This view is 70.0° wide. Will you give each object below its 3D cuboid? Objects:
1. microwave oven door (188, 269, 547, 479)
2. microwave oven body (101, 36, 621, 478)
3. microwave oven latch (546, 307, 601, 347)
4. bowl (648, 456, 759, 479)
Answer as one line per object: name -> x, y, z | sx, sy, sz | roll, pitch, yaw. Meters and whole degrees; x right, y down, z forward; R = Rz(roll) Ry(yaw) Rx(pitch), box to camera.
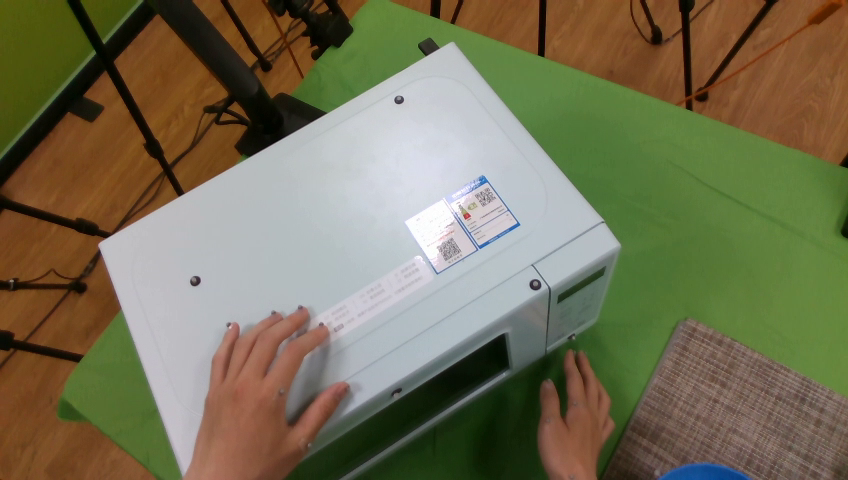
microwave oven door -> -0.028, 0.168, 0.631 | 0.356, 0.246, 0.039 | -31, 64, -5
microwave oven body -> -0.064, 0.039, 0.700 | 0.442, 0.262, 0.323 | -31, 65, -4
microwave oven latch -> 0.176, 0.098, 0.741 | 0.079, 0.030, 0.030 | -30, 65, -4
bowl -> 0.286, 0.304, 0.622 | 0.151, 0.077, 0.150 | -4, 65, 8
